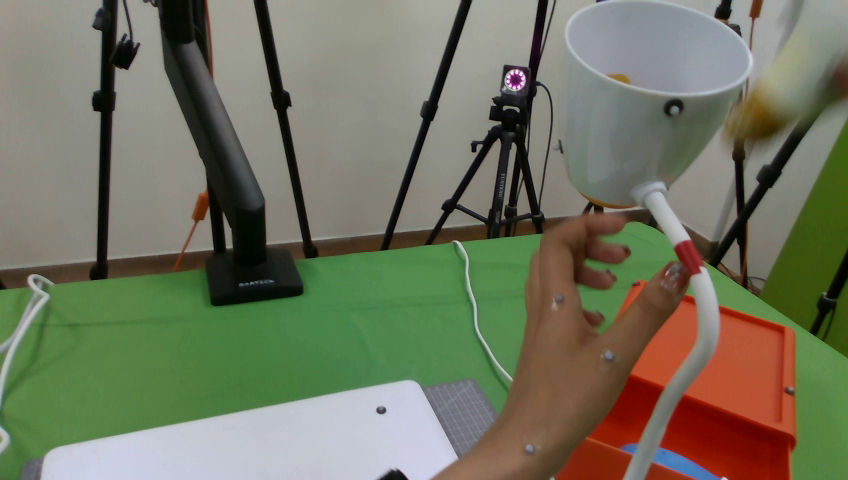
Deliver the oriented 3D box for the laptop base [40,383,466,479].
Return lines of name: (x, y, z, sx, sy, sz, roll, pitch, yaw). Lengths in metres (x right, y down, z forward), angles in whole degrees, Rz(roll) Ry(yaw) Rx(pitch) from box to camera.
laptop base: (-0.132, 0.235, 0.515, 0.356, 0.023, 0.233, -6, 33, -22)

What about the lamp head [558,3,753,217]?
lamp head: (0.141, -0.076, 0.403, 0.112, 0.124, 0.111, 0, 42, 0)

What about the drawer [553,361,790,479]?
drawer: (0.256, 0.194, 0.613, 0.193, 0.074, 0.211, 17, 29, 22)

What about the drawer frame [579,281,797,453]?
drawer frame: (0.309, 0.151, 0.702, 0.200, 0.083, 0.213, 18, 29, 23)

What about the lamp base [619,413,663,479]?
lamp base: (0.146, 0.223, 0.416, 0.161, 0.181, 0.177, 4, 25, -7)

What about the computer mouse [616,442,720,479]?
computer mouse: (0.232, 0.231, 0.567, 0.117, 0.041, 0.062, 18, 29, 15)

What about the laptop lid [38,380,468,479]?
laptop lid: (-0.130, 0.225, 0.508, 0.358, 0.013, 0.239, -5, 32, -20)

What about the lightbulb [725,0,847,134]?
lightbulb: (0.174, -0.083, 0.251, 0.060, 0.108, 0.059, 21, 47, -24)
